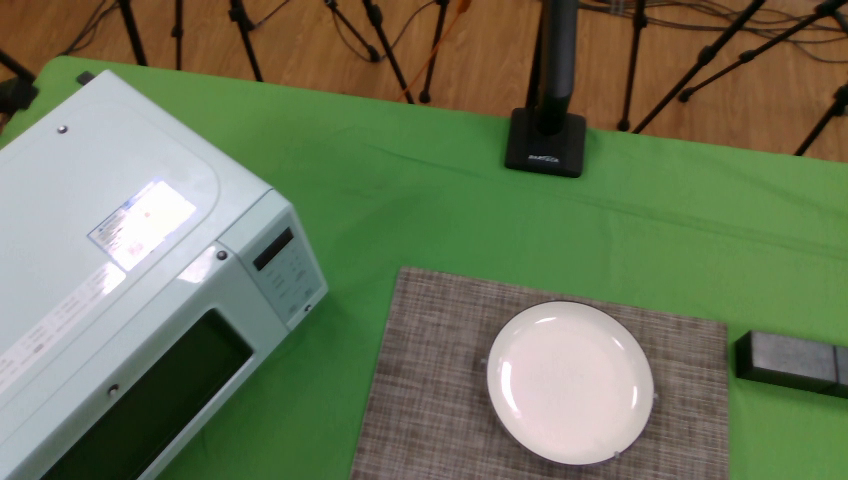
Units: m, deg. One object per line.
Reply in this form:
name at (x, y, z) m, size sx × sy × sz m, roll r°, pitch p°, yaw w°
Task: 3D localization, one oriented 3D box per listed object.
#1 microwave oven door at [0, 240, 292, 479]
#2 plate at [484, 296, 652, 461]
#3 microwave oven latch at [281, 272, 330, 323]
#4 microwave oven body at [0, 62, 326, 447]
microwave oven door at (-0.302, 0.179, 0.646) m, size 0.039 × 0.246 × 0.355 m, roll 35°, pitch 69°, yaw 18°
plate at (0.179, 0.174, 0.769) m, size 0.208 × 0.039 × 0.206 m, roll 0°, pitch 64°, yaw 1°
microwave oven latch at (-0.161, 0.071, 0.810) m, size 0.030 × 0.030 × 0.079 m, roll 37°, pitch 71°, yaw 17°
microwave oven body at (-0.390, 0.072, 0.706) m, size 0.324 × 0.262 × 0.441 m, roll 35°, pitch 70°, yaw 16°
